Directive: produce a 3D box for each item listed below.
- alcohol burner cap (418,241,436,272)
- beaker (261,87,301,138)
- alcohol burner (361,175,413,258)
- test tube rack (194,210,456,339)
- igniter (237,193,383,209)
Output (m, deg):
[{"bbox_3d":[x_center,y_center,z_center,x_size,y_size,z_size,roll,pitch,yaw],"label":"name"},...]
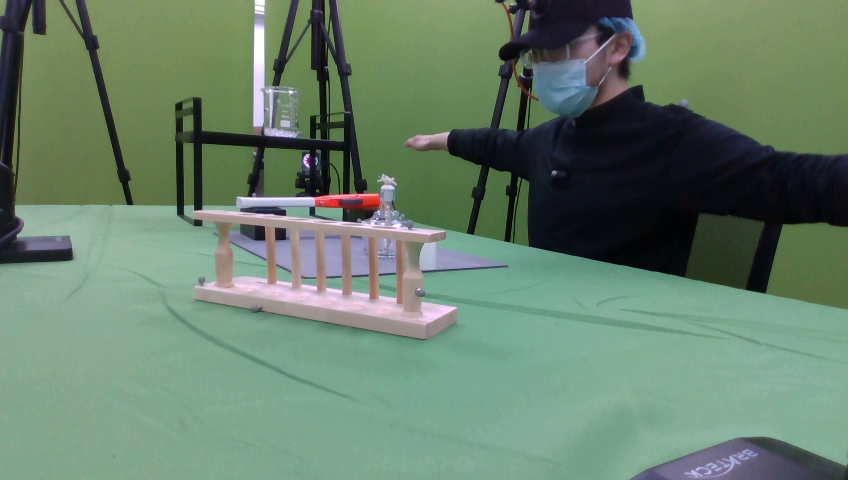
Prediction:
[{"bbox_3d":[0.001,0.015,0.787,0.034,0.048,0.034,4,7,0],"label":"alcohol burner cap"},{"bbox_3d":[-0.298,-0.263,1.255,0.084,0.100,0.073,-5,10,-40],"label":"beaker"},{"bbox_3d":[-0.054,-0.034,0.870,0.078,0.119,0.078,1,9,0],"label":"alcohol burner"},{"bbox_3d":[-0.093,0.023,0.545,0.241,0.085,0.067,6,8,25],"label":"test tube rack"},{"bbox_3d":[-0.191,-0.069,1.072,0.278,0.025,0.057,-5,11,-35],"label":"igniter"}]
